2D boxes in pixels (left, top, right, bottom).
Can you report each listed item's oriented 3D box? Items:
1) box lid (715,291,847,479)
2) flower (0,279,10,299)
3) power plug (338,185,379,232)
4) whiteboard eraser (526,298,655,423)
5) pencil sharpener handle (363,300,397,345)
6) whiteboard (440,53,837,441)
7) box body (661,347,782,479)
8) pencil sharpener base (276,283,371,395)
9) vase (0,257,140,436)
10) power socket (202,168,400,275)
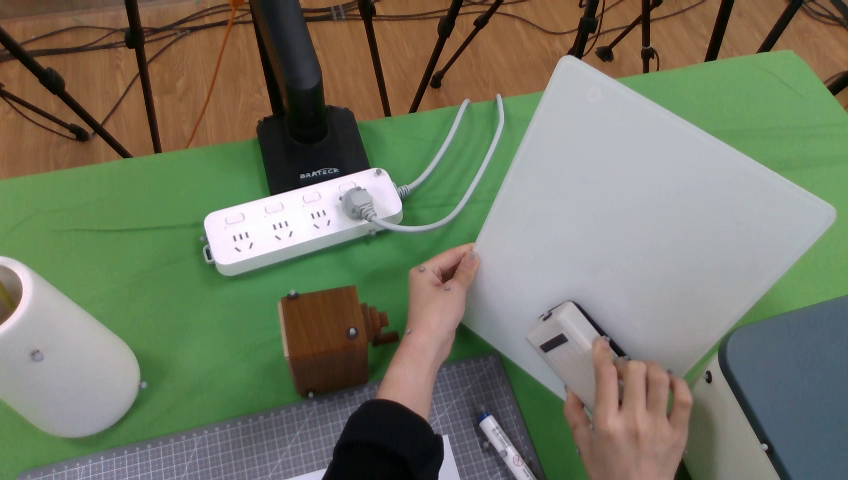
[{"bbox_3d":[0.399,0.195,0.425,0.264,0.015,0.367,-13,61,-13],"label":"box lid"},{"bbox_3d":[-0.301,0.031,0.429,0.038,0.365,0.043,-23,45,-26],"label":"flower"},{"bbox_3d":[-0.072,-0.027,0.652,0.035,0.053,0.072,-8,62,-10],"label":"power plug"},{"bbox_3d":[0.147,0.105,0.536,0.112,0.055,0.042,49,42,2],"label":"whiteboard eraser"},{"bbox_3d":[-0.039,0.078,0.561,0.031,0.068,0.035,-10,60,-11],"label":"pencil sharpener handle"},{"bbox_3d":[0.182,0.000,0.563,0.216,0.307,0.144,37,43,17],"label":"whiteboard"},{"bbox_3d":[0.394,0.237,0.488,0.255,0.161,0.360,-13,61,-13],"label":"box body"},{"bbox_3d":[-0.089,0.093,0.562,0.077,0.108,0.061,-10,60,-11],"label":"pencil sharpener base"},{"bbox_3d":[-0.308,0.090,0.489,0.098,0.201,0.097,2,58,-2],"label":"vase"},{"bbox_3d":[-0.132,-0.023,0.671,0.227,0.033,0.071,-17,63,-15],"label":"power socket"}]
